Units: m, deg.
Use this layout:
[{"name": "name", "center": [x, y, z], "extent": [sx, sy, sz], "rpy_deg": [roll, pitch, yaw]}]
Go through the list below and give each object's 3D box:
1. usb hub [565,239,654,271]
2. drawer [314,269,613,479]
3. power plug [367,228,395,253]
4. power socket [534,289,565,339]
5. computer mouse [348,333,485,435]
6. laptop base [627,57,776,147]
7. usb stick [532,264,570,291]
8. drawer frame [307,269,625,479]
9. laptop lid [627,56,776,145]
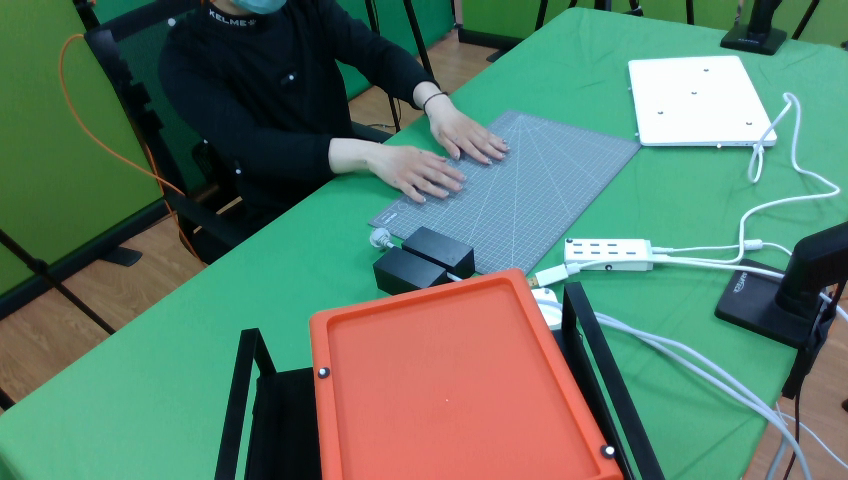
[{"name": "usb hub", "center": [0.275, 0.022, 0.906], "extent": [0.125, 0.025, 0.049], "rpy_deg": [1, 41, 9]}, {"name": "drawer", "center": [0.018, 0.135, 0.490], "extent": [0.195, 0.073, 0.210], "rpy_deg": [-11, 41, -5]}, {"name": "power plug", "center": [-0.066, 0.010, 0.956], "extent": [0.035, 0.053, 0.072], "rpy_deg": [-31, 55, 3]}, {"name": "power socket", "center": [0.081, 0.112, 0.822], "extent": [0.227, 0.033, 0.072], "rpy_deg": [-7, 41, 0]}, {"name": "computer mouse", "center": [-0.006, 0.122, 0.528], "extent": [0.117, 0.041, 0.063], "rpy_deg": [20, 40, 14]}, {"name": "laptop base", "center": [0.546, -0.282, 1.229], "extent": [0.235, 0.023, 0.353], "rpy_deg": [0, 41, 13]}, {"name": "usb stick", "center": [0.180, 0.058, 0.876], "extent": [0.059, 0.027, 0.021], "rpy_deg": [-32, 89, -7]}, {"name": "drawer frame", "center": [0.019, 0.135, 0.487], "extent": [0.202, 0.083, 0.212], "rpy_deg": [-12, 41, -7]}, {"name": "laptop lid", "center": [0.543, -0.291, 1.221], "extent": [0.241, 0.013, 0.356], "rpy_deg": [2, 41, 14]}]
